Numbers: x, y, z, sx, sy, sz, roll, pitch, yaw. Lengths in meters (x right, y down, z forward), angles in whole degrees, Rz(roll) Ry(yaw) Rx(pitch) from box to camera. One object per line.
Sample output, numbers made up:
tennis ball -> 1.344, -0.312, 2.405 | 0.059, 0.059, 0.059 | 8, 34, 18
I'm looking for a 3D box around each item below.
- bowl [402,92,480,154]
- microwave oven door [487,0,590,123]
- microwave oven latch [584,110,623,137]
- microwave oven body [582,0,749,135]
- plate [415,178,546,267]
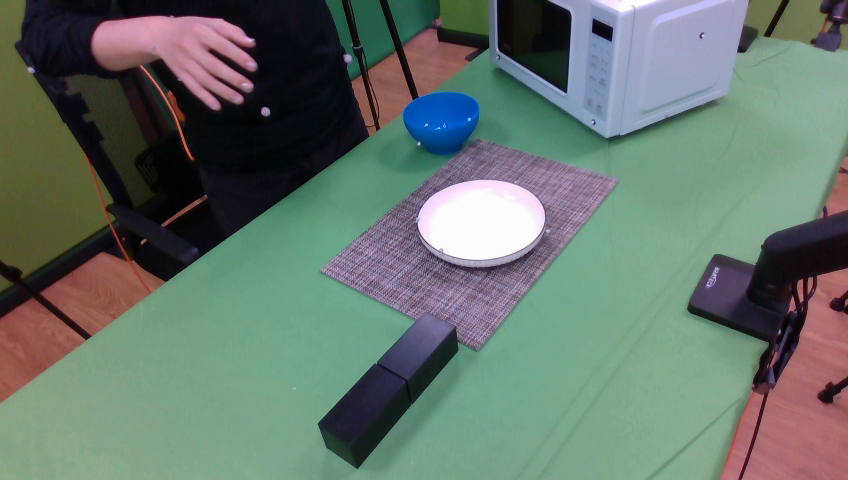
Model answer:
bowl -> 0.036, -0.220, 1.180 | 0.151, 0.077, 0.150 | -4, 40, 4
microwave oven door -> 0.232, -0.420, 1.231 | 0.039, 0.245, 0.352 | -22, 43, -16
microwave oven latch -> 0.337, -0.222, 1.142 | 0.030, 0.029, 0.078 | -21, 42, -15
microwave oven body -> 0.382, -0.444, 1.246 | 0.327, 0.261, 0.437 | -22, 42, -16
plate -> 0.091, -0.026, 0.970 | 0.207, 0.039, 0.206 | -4, 41, 4
